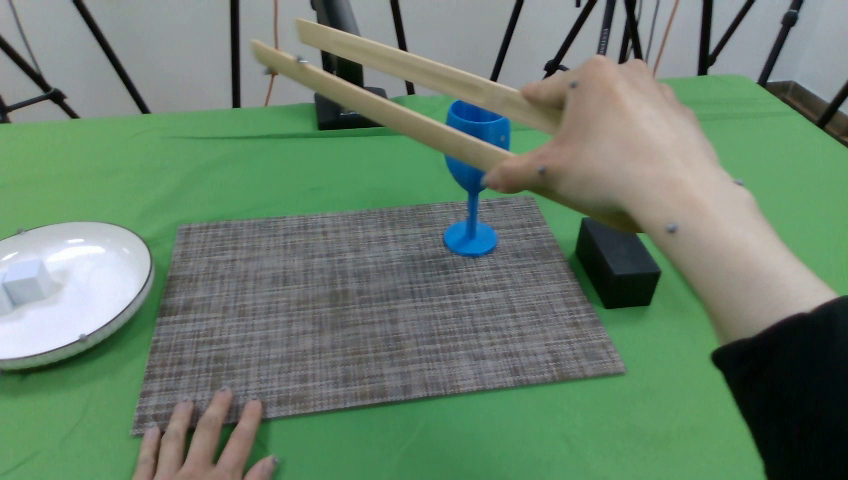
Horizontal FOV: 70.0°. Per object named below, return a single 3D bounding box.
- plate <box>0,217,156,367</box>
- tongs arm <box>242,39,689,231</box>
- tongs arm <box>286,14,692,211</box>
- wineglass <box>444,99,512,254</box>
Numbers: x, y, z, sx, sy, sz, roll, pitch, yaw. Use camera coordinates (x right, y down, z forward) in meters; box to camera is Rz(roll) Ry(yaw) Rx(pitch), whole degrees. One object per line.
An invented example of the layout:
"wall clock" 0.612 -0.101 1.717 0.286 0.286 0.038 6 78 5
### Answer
"plate" -0.384 0.052 0.624 0.209 0.038 0.207 1 39 0
"tongs arm" -0.001 -0.094 0.444 0.381 0.027 0.050 31 56 31
"tongs arm" 0.019 -0.113 0.460 0.384 0.028 0.028 30 52 30
"wineglass" 0.057 -0.070 0.675 0.074 0.174 0.073 1 40 0
